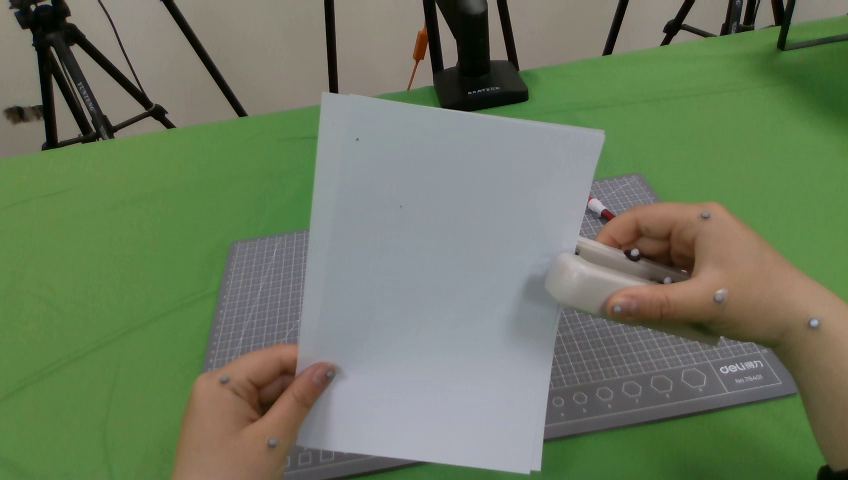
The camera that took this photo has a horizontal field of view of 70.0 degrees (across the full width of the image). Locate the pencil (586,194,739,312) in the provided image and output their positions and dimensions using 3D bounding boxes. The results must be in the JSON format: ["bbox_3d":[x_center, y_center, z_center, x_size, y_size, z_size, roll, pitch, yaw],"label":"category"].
[{"bbox_3d":[0.212,0.006,0.556,0.012,0.012,0.192,-22,41,-16],"label":"pencil"}]

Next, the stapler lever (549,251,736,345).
[{"bbox_3d":[0.128,0.035,0.350,0.118,0.027,0.040,19,16,-8],"label":"stapler lever"}]

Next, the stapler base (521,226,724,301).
[{"bbox_3d":[0.126,0.030,0.371,0.131,0.041,0.024,18,16,-11],"label":"stapler base"}]
